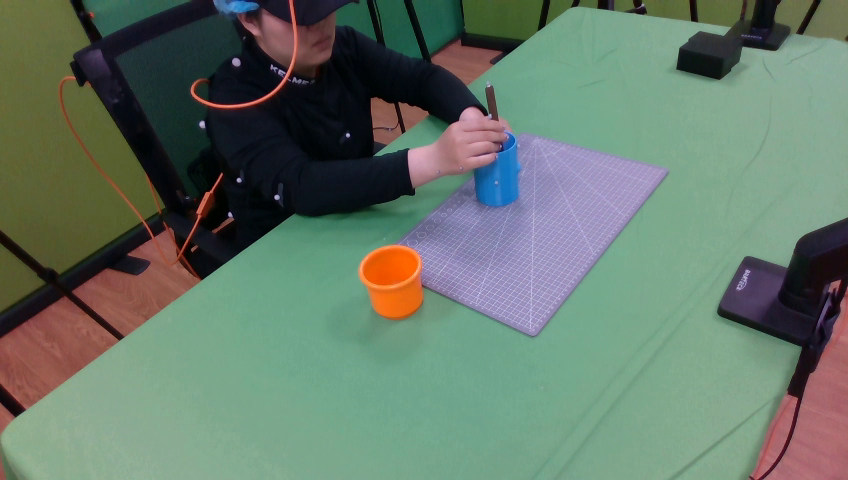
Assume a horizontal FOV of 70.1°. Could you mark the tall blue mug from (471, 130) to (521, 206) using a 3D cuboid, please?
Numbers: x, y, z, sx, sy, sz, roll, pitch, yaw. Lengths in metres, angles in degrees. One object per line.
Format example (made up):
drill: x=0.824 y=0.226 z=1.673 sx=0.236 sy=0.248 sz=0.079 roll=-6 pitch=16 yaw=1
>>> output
tall blue mug: x=0.119 y=-0.132 z=1.046 sx=0.078 sy=0.108 sz=0.106 roll=-19 pitch=41 yaw=-10

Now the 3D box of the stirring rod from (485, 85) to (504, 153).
stirring rod: x=0.119 y=-0.168 z=0.979 sx=0.014 sy=0.177 sz=0.005 roll=-28 pitch=37 yaw=-16
